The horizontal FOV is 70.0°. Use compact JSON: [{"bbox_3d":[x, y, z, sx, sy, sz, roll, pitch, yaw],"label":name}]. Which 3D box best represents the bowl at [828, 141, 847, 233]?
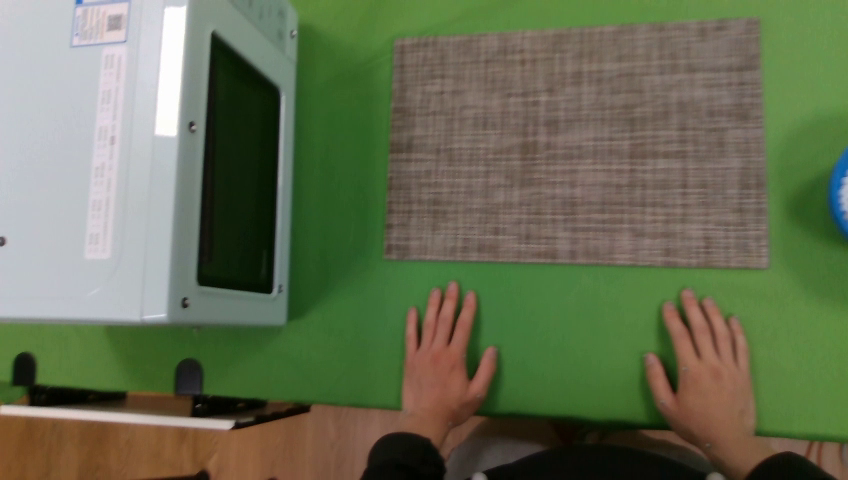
[{"bbox_3d":[0.490,-0.049,0.625,0.151,0.077,0.151,-2,82,13],"label":"bowl"}]

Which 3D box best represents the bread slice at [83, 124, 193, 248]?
[{"bbox_3d":[-0.350,-0.071,0.720,0.105,0.019,0.131,-43,78,8],"label":"bread slice"}]

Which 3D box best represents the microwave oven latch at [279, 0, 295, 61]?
[{"bbox_3d":[-0.190,-0.283,0.815,0.030,0.029,0.079,-1,83,13],"label":"microwave oven latch"}]

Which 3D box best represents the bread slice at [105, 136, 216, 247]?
[{"bbox_3d":[-0.341,-0.066,0.767,0.133,0.018,0.107,42,84,17],"label":"bread slice"}]

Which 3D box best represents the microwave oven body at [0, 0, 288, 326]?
[{"bbox_3d":[-0.359,-0.118,0.733,0.325,0.261,0.440,-1,83,12],"label":"microwave oven body"}]

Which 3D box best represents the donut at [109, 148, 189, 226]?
[{"bbox_3d":[-0.337,-0.065,0.744,0.099,0.048,0.098,-1,81,7],"label":"donut"}]

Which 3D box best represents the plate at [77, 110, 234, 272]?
[{"bbox_3d":[-0.336,-0.060,0.771,0.207,0.039,0.207,-1,82,9],"label":"plate"}]

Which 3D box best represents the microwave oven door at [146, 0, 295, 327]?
[{"bbox_3d":[-0.218,-0.080,0.690,0.039,0.245,0.354,-2,82,13],"label":"microwave oven door"}]
